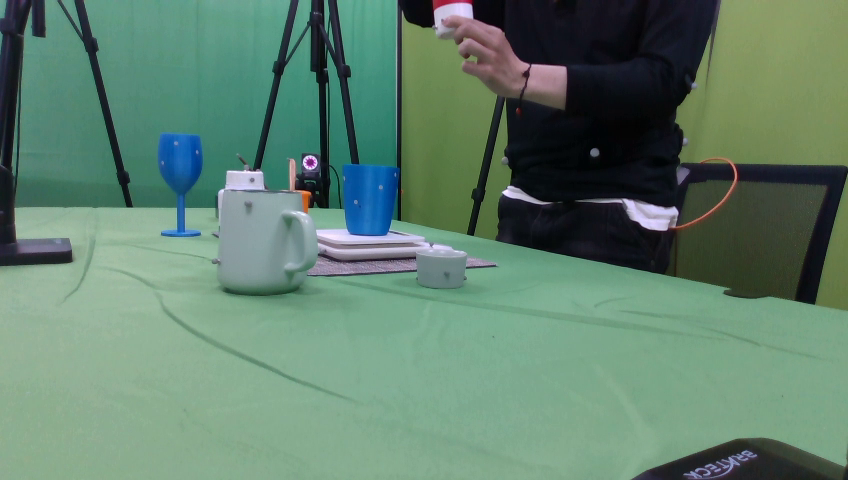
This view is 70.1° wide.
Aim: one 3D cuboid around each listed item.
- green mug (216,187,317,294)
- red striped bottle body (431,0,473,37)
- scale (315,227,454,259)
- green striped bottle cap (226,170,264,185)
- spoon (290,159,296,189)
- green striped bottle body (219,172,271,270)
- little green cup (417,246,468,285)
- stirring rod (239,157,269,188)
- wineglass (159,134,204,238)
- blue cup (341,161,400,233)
[{"bbox_3d":[-0.157,0.000,0.629,0.124,0.105,0.093,7,9,37],"label":"green mug"},{"bbox_3d":[0.041,-0.391,0.959,0.063,0.119,0.063,-7,5,1],"label":"red striped bottle body"},{"bbox_3d":[-0.066,0.001,0.906,0.202,0.031,0.148,-2,8,-31],"label":"scale"},{"bbox_3d":[-0.222,-0.076,0.748,0.044,0.020,0.044,0,7,0],"label":"green striped bottle cap"},{"bbox_3d":[-0.273,-0.102,1.252,0.042,0.193,0.021,7,-38,-17],"label":"spoon"},{"bbox_3d":[-0.223,-0.025,0.755,0.063,0.119,0.063,2,7,0],"label":"green striped bottle body"},{"bbox_3d":[0.021,0.029,0.701,0.061,0.038,0.061,1,6,0],"label":"little green cup"},{"bbox_3d":[-0.309,-0.098,1.209,0.006,0.177,0.014,-39,29,-4],"label":"stirring rod"},{"bbox_3d":[-0.415,-0.093,1.040,0.074,0.172,0.073,2,7,0],"label":"wineglass"},{"bbox_3d":[-0.080,-0.062,0.883,0.093,0.100,0.092,2,4,0],"label":"blue cup"}]
